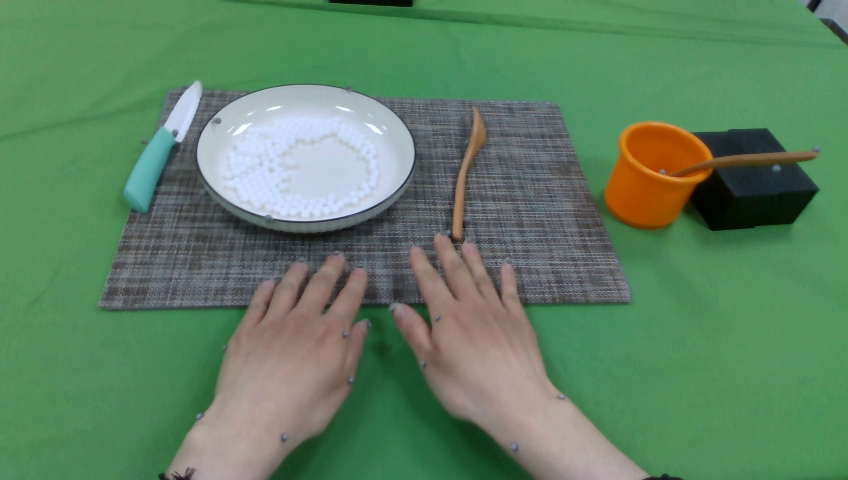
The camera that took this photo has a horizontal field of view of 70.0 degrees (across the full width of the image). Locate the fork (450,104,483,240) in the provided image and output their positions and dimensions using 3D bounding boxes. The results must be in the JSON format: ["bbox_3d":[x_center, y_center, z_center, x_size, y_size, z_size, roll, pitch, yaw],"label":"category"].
[{"bbox_3d":[0.043,-0.077,0.629,0.018,0.028,0.205,-10,45,26],"label":"fork"}]

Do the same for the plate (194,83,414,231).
[{"bbox_3d":[-0.114,-0.082,0.598,0.209,0.038,0.207,4,48,-4],"label":"plate"}]

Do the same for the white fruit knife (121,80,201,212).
[{"bbox_3d":[-0.261,-0.105,0.614,0.027,0.016,0.205,27,41,-23],"label":"white fruit knife"}]

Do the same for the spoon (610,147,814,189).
[{"bbox_3d":[0.260,-0.069,0.572,0.041,0.193,0.022,-29,101,-32],"label":"spoon"}]
